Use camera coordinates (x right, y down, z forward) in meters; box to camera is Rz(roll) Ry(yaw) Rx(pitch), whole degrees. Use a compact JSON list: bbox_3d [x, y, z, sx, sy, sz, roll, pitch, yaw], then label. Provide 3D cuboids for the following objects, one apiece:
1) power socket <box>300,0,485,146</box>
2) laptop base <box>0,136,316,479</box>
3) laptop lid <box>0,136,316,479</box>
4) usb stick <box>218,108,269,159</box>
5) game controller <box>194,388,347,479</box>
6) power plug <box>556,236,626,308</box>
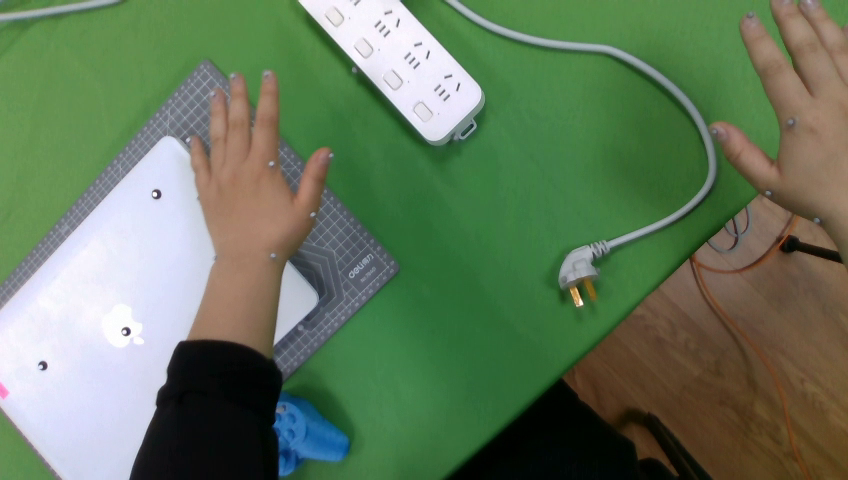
[{"bbox_3d":[-0.032,-0.187,0.582,0.072,0.032,0.226,-42,85,10],"label":"power socket"},{"bbox_3d":[-0.308,0.091,0.643,0.354,0.023,0.235,-43,88,8],"label":"laptop base"},{"bbox_3d":[-0.308,0.093,0.632,0.357,0.013,0.241,-41,87,8],"label":"laptop lid"},{"bbox_3d":[-0.186,-0.110,0.611,0.021,0.027,0.059,-44,83,10],"label":"usb stick"},{"bbox_3d":[-0.162,0.223,0.610,0.155,0.052,0.097,-43,80,8],"label":"game controller"},{"bbox_3d":[0.156,0.028,0.553,0.072,0.035,0.052,-26,69,21],"label":"power plug"}]
